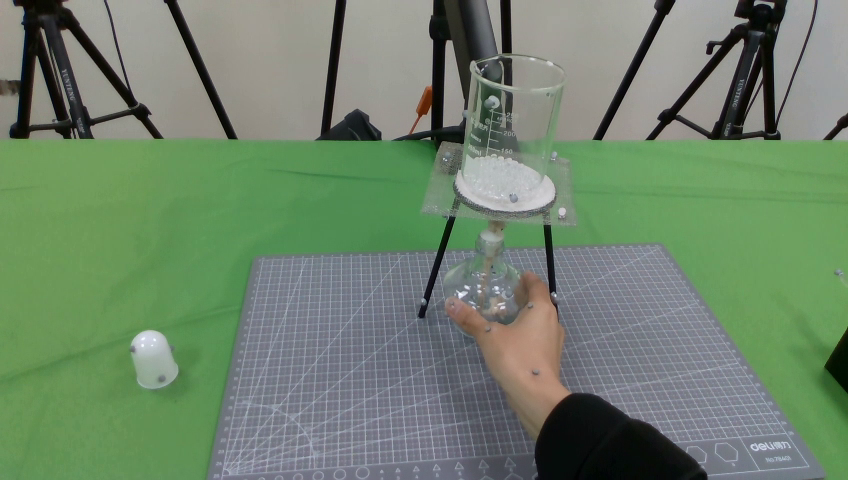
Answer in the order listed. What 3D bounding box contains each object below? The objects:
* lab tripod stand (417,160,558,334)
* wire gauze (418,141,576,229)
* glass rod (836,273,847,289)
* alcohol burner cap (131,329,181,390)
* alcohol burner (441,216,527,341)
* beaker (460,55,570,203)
[{"bbox_3d":[0.068,0.006,0.551,0.148,0.132,0.147,4,35,-2],"label":"lab tripod stand"},{"bbox_3d":[0.065,-0.048,0.513,0.121,0.011,0.124,7,38,5],"label":"wire gauze"},{"bbox_3d":[0.395,0.090,0.490,0.008,0.008,0.197,0,36,-4],"label":"glass rod"},{"bbox_3d":[-0.219,0.094,0.490,0.034,0.048,0.033,2,36,-1],"label":"alcohol burner cap"},{"bbox_3d":[0.054,0.030,0.534,0.078,0.120,0.077,2,34,-1],"label":"alcohol burner"},{"bbox_3d":[0.065,-0.088,0.486,0.083,0.101,0.074,31,43,31],"label":"beaker"}]
